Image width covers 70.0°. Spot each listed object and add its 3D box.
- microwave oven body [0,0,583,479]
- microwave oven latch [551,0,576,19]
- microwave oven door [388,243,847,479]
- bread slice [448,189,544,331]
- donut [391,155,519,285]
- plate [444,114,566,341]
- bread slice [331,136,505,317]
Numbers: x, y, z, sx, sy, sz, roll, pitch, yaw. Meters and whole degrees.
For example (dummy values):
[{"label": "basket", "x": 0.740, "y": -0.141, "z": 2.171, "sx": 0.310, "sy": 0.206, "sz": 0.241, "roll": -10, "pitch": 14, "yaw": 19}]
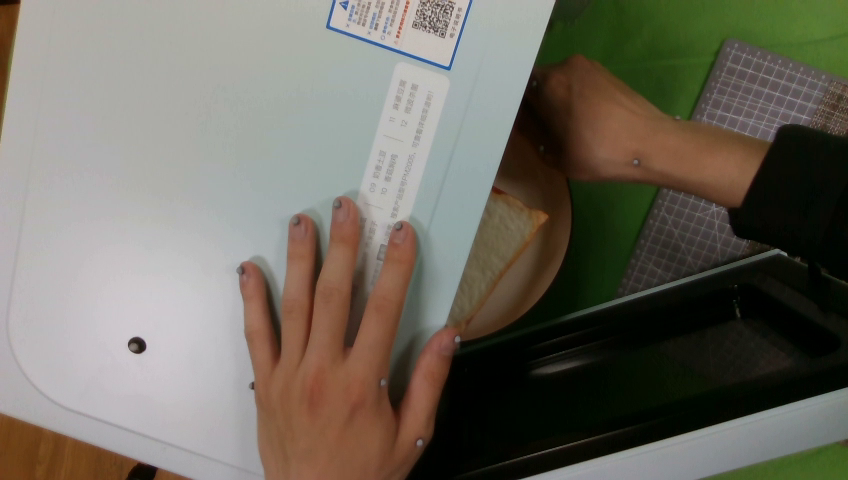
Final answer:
[{"label": "microwave oven body", "x": -0.084, "y": -0.088, "z": 0.441, "sx": 0.326, "sy": 0.259, "sz": 0.443, "roll": 18, "pitch": 104, "yaw": 1}, {"label": "microwave oven latch", "x": 0.120, "y": -0.224, "z": 0.491, "sx": 0.030, "sy": 0.029, "sz": 0.079, "roll": 19, "pitch": 104, "yaw": 1}, {"label": "microwave oven door", "x": 0.149, "y": 0.100, "z": 0.455, "sx": 0.355, "sy": 0.243, "sz": 0.039, "roll": -20, "pitch": 99, "yaw": 9}, {"label": "bread slice", "x": -0.001, "y": -0.012, "z": 0.432, "sx": 0.134, "sy": 0.018, "sz": 0.107, "roll": 33, "pitch": 102, "yaw": 4}, {"label": "donut", "x": 0.023, "y": -0.015, "z": 0.464, "sx": 0.099, "sy": 0.048, "sz": 0.099, "roll": 0, "pitch": 97, "yaw": 0}, {"label": "plate", "x": 0.007, "y": -0.023, "z": 0.488, "sx": 0.207, "sy": 0.039, "sz": 0.208, "roll": 1, "pitch": 101, "yaw": 4}, {"label": "bread slice", "x": -0.014, "y": -0.015, "z": 0.490, "sx": 0.105, "sy": 0.019, "sz": 0.132, "roll": -36, "pitch": 95, "yaw": 9}]
